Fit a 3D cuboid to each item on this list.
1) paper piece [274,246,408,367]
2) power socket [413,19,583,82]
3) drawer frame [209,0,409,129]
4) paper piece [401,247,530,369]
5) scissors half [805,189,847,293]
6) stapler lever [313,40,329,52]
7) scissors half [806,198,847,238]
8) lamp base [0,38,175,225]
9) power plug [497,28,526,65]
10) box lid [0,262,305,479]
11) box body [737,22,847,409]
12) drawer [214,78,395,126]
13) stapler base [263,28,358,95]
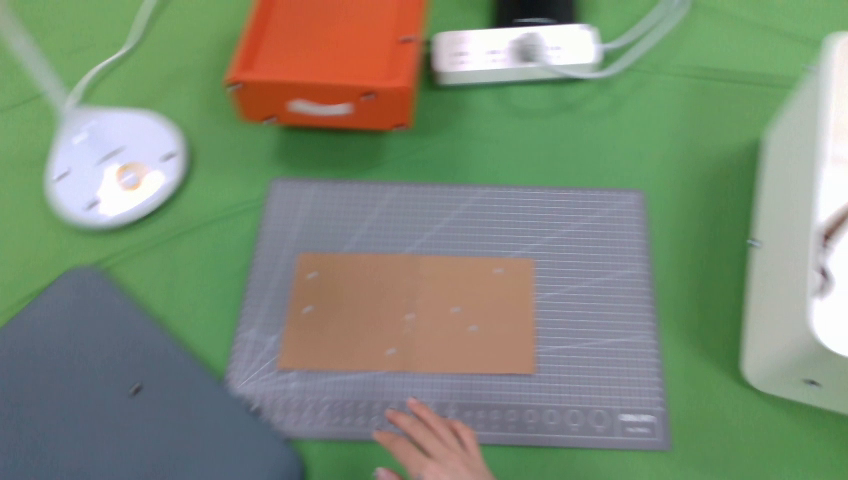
[{"bbox_3d":[-0.087,0.069,0.657,0.136,0.009,0.137,0,65,5],"label":"paper piece"},{"bbox_3d":[0.098,-0.251,0.800,0.227,0.033,0.071,-4,64,-1],"label":"power socket"},{"bbox_3d":[-0.126,-0.242,0.723,0.201,0.083,0.212,2,63,3],"label":"drawer frame"},{"bbox_3d":[0.045,0.071,0.652,0.135,0.004,0.134,2,64,2],"label":"paper piece"},{"bbox_3d":[0.440,0.000,0.674,0.040,0.013,0.175,32,66,24],"label":"scissors half"},{"bbox_3d":[-0.149,-0.227,0.708,0.117,0.040,0.027,30,84,19],"label":"stapler lever"},{"bbox_3d":[0.427,-0.011,0.684,0.175,0.013,0.039,-32,54,-14],"label":"scissors half"},{"bbox_3d":[-0.394,-0.130,0.666,0.178,0.182,0.160,32,68,19],"label":"lamp base"},{"bbox_3d":[0.110,-0.236,0.767,0.035,0.053,0.072,5,64,4],"label":"power plug"},{"bbox_3d":[-0.325,0.207,0.593,0.369,0.015,0.262,34,70,17],"label":"box lid"},{"bbox_3d":[0.471,-0.011,0.602,0.253,0.161,0.362,14,65,8],"label":"box body"},{"bbox_3d":[-0.124,-0.240,0.723,0.194,0.074,0.210,2,63,3],"label":"drawer"},{"bbox_3d":[-0.141,-0.220,0.733,0.130,0.024,0.041,30,84,18],"label":"stapler base"}]
